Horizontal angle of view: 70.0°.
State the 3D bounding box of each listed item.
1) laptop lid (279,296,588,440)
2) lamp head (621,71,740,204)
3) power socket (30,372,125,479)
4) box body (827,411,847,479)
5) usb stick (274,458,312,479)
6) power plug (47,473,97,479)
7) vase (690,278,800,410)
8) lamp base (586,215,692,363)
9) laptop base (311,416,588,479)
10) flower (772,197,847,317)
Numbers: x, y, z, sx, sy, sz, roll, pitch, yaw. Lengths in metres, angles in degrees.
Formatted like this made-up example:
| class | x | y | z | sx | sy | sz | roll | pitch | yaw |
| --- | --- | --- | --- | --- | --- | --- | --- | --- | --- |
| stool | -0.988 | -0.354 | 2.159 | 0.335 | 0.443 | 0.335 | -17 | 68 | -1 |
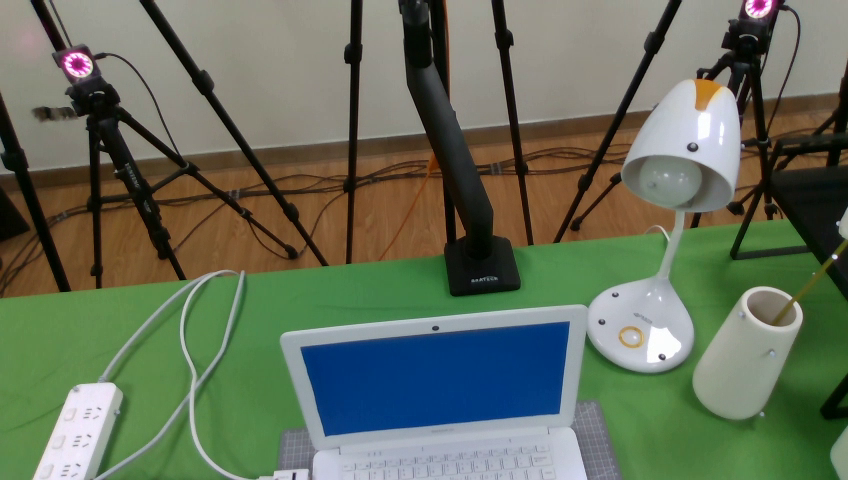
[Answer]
| class | x | y | z | sx | sy | sz | roll | pitch | yaw |
| --- | --- | --- | --- | --- | --- | --- | --- | --- | --- |
| laptop lid | 0.018 | 0.167 | 0.752 | 0.357 | 0.244 | 0.013 | -7 | 40 | 0 |
| lamp head | 0.279 | -0.111 | 0.639 | 0.112 | 0.113 | 0.122 | 18 | 68 | 20 |
| power socket | -0.479 | 0.281 | 0.833 | 0.072 | 0.033 | 0.224 | -2 | 46 | 0 |
| box body | 0.641 | 0.323 | 0.626 | 0.254 | 0.162 | 0.360 | -4 | 46 | 1 |
| usb stick | -0.163 | 0.298 | 0.787 | 0.059 | 0.027 | 0.021 | 0 | 46 | -4 |
| power plug | -0.448 | 0.319 | 0.767 | 0.072 | 0.053 | 0.035 | 5 | 47 | 6 |
| vase | 0.417 | 0.138 | 0.793 | 0.098 | 0.202 | 0.097 | -3 | 45 | 3 |
| lamp base | 0.331 | 0.059 | 0.888 | 0.159 | 0.182 | 0.178 | 20 | 49 | 22 |
| laptop base | 0.035 | 0.343 | 0.748 | 0.354 | 0.023 | 0.233 | -5 | 50 | -1 |
| flower | 0.432 | 0.080 | 0.733 | 0.038 | 0.364 | 0.043 | 12 | 37 | -7 |
